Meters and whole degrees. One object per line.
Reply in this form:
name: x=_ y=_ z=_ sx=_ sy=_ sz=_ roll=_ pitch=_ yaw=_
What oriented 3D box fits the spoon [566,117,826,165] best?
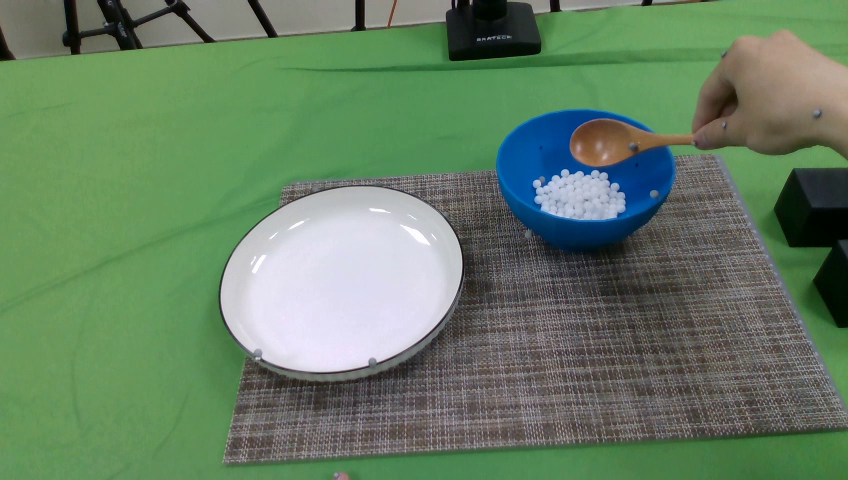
spoon: x=0.201 y=-0.080 z=0.476 sx=0.192 sy=0.041 sz=0.022 roll=7 pitch=4 yaw=44

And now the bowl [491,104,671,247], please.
bowl: x=0.136 y=-0.046 z=0.547 sx=0.151 sy=0.077 sz=0.150 roll=-3 pitch=48 yaw=3

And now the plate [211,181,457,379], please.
plate: x=-0.074 y=0.033 z=0.525 sx=0.207 sy=0.039 sz=0.205 roll=-3 pitch=48 yaw=3
